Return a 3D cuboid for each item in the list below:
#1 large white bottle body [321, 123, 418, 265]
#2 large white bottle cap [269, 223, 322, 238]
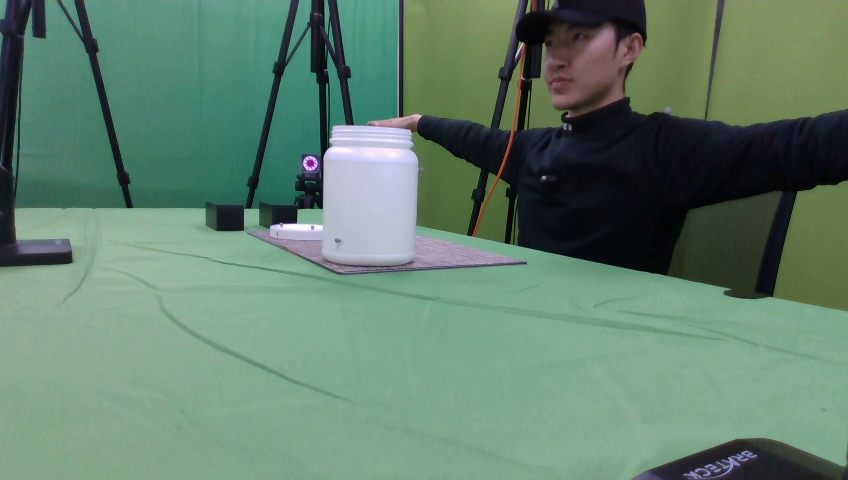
[{"bbox_3d":[-0.075,-0.064,0.836,0.131,0.184,0.130,2,8,0],"label":"large white bottle body"},{"bbox_3d":[-0.218,-0.017,1.084,0.115,0.018,0.115,2,7,0],"label":"large white bottle cap"}]
